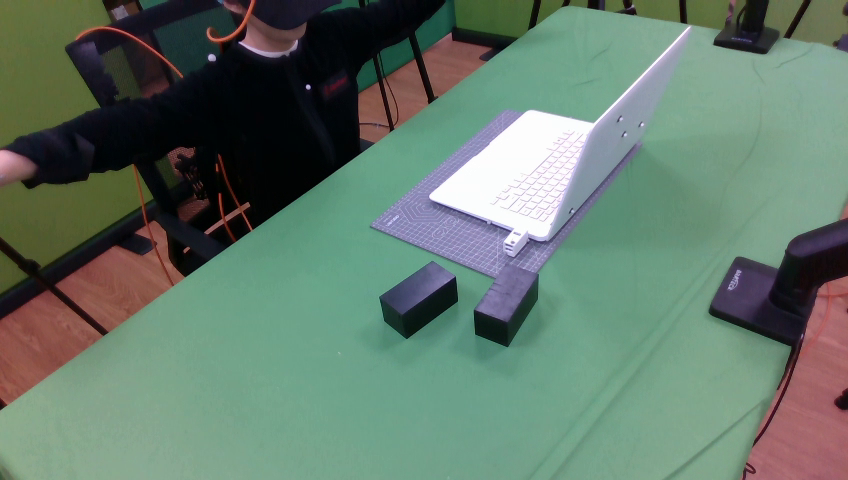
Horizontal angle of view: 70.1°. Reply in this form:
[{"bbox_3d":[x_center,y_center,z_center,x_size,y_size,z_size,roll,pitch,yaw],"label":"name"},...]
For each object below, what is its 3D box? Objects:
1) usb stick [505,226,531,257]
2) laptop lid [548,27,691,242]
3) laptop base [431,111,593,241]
[{"bbox_3d":[0.150,-0.002,0.940,0.021,0.027,0.059,22,46,31],"label":"usb stick"},{"bbox_3d":[0.310,-0.168,0.950,0.013,0.242,0.358,33,52,20],"label":"laptop lid"},{"bbox_3d":[0.207,-0.129,1.100,0.233,0.023,0.355,20,47,34],"label":"laptop base"}]
